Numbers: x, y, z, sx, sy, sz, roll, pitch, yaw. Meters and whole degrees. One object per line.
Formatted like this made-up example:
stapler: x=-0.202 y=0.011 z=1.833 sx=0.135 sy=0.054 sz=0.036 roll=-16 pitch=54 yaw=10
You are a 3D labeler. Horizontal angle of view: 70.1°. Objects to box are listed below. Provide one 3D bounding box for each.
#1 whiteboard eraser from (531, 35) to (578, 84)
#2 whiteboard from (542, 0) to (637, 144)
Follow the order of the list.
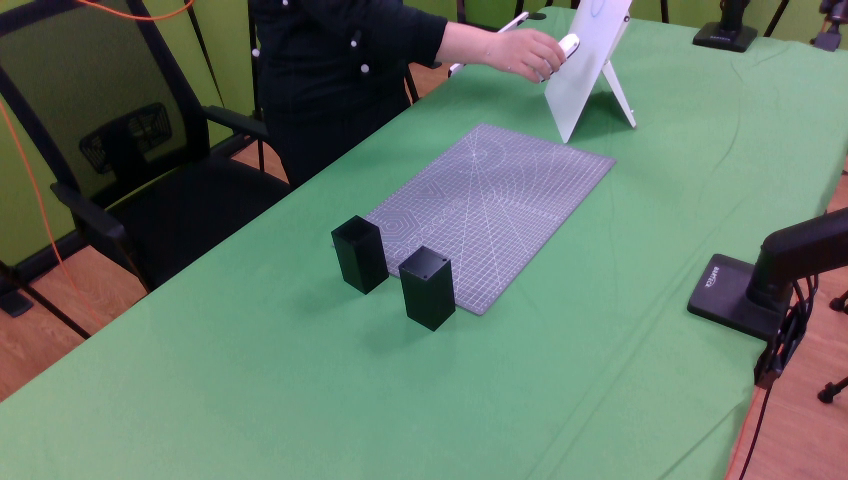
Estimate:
whiteboard eraser: x=0.233 y=-0.323 z=1.080 sx=0.101 sy=0.019 sz=0.041 roll=-44 pitch=34 yaw=21
whiteboard: x=0.366 y=-0.352 z=1.160 sx=0.144 sy=0.305 sz=0.216 roll=9 pitch=39 yaw=-10
